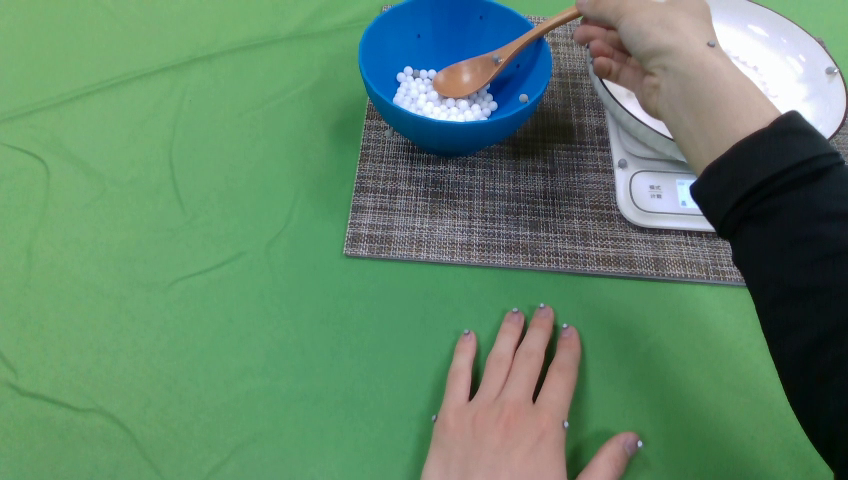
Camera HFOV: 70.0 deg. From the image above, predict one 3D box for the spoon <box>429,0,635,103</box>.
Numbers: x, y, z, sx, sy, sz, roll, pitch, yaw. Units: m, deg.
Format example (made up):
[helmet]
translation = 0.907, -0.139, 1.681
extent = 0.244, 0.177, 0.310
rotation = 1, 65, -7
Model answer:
[spoon]
translation = 0.092, -0.158, 0.481
extent = 0.193, 0.022, 0.041
rotation = -25, 50, 20

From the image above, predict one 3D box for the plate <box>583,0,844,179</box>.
[plate]
translation = 0.232, -0.128, 0.505
extent = 0.209, 0.038, 0.207
rotation = 2, 56, -3

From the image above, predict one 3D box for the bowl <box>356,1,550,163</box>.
[bowl]
translation = 0.022, -0.117, 0.498
extent = 0.151, 0.077, 0.150
rotation = 1, 56, -2

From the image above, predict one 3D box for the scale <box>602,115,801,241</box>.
[scale]
translation = 0.229, -0.091, 0.519
extent = 0.149, 0.032, 0.199
rotation = 4, 56, 0
